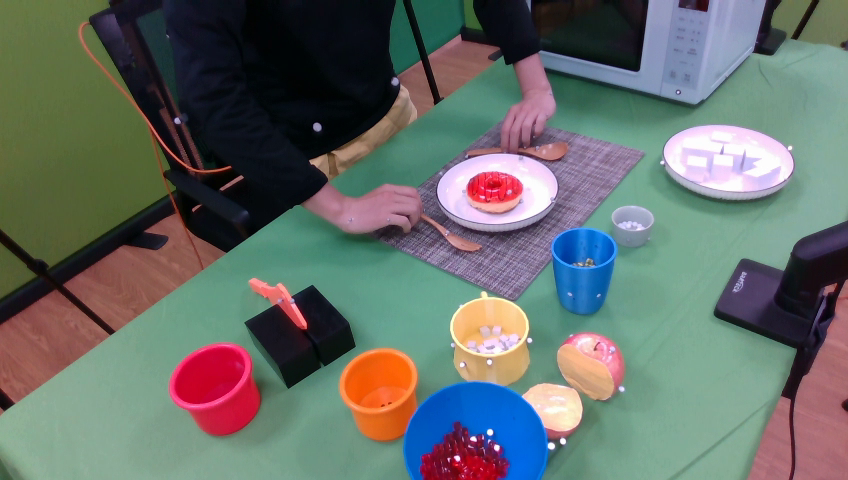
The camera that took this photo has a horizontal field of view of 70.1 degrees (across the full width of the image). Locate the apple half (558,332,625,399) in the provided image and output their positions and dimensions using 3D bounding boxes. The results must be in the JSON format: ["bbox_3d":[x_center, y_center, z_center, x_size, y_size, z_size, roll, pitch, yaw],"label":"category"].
[{"bbox_3d":[0.208,0.147,0.731,0.080,0.075,0.053,25,46,38],"label":"apple half"}]

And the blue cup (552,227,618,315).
[{"bbox_3d":[0.218,0.047,0.825,0.092,0.101,0.092,-6,39,5],"label":"blue cup"}]

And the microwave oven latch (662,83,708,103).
[{"bbox_3d":[0.518,-0.296,1.204,0.078,0.029,0.030,28,52,35],"label":"microwave oven latch"}]

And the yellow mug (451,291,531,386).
[{"bbox_3d":[0.086,0.120,0.786,0.100,0.064,0.130,-7,39,2],"label":"yellow mug"}]

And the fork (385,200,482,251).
[{"bbox_3d":[0.010,-0.026,0.993,0.205,0.019,0.028,31,46,30],"label":"fork"}]

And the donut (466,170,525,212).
[{"bbox_3d":[0.121,-0.083,1.019,0.099,0.048,0.098,-4,38,3],"label":"donut"}]

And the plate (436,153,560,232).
[{"bbox_3d":[0.125,-0.078,1.029,0.209,0.038,0.208,-4,40,4],"label":"plate"}]

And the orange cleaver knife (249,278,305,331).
[{"bbox_3d":[-0.210,0.088,0.856,0.012,0.077,0.210,-28,15,-25],"label":"orange cleaver knife"}]

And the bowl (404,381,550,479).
[{"bbox_3d":[0.058,0.235,0.645,0.151,0.077,0.150,-4,39,4],"label":"bowl"}]

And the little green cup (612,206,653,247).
[{"bbox_3d":[0.321,-0.019,0.936,0.061,0.039,0.061,-4,41,4],"label":"little green cup"}]

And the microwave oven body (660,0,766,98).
[{"bbox_3d":[0.473,-0.513,1.317,0.438,0.261,0.327,26,51,34],"label":"microwave oven body"}]

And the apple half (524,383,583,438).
[{"bbox_3d":[0.149,0.204,0.704,0.081,0.033,0.081,-10,25,5],"label":"apple half"}]

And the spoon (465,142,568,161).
[{"bbox_3d":[0.172,-0.168,1.140,0.193,0.022,0.041,2,64,11],"label":"spoon"}]

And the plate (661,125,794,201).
[{"bbox_3d":[0.513,-0.128,1.035,0.207,0.039,0.206,-4,40,4],"label":"plate"}]

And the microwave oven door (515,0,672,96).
[{"bbox_3d":[0.344,-0.455,1.260,0.353,0.245,0.039,26,51,33],"label":"microwave oven door"}]
